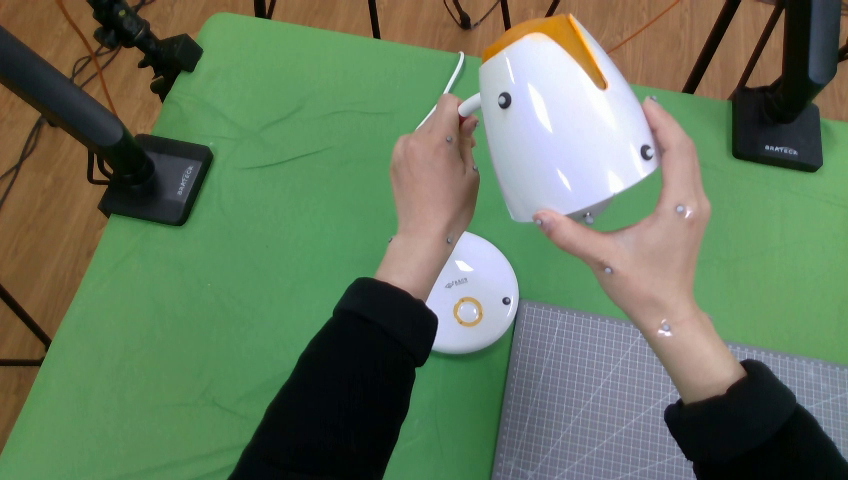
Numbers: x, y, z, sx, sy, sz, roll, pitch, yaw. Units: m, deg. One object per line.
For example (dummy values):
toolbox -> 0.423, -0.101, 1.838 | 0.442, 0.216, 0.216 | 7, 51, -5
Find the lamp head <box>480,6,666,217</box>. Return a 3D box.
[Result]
lamp head -> 0.087, -0.091, 0.413 | 0.112, 0.112, 0.123 | -31, 98, -14

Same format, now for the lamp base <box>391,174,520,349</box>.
lamp base -> 0.033, 0.016, 0.690 | 0.161, 0.181, 0.177 | -28, 67, -13

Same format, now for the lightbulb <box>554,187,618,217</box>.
lightbulb -> 0.095, -0.067, 0.412 | 0.059, 0.059, 0.108 | -25, 102, -11
